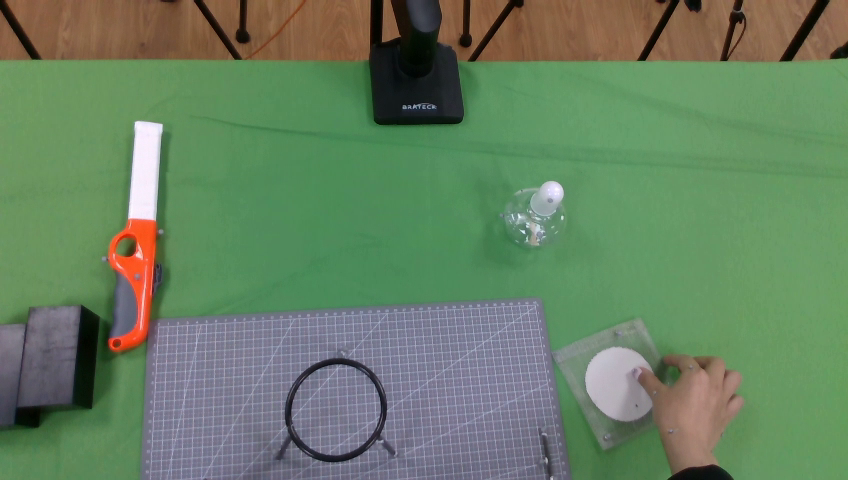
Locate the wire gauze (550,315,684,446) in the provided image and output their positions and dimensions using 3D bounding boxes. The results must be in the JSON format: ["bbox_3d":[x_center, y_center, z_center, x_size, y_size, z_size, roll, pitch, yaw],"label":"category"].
[{"bbox_3d":[0.229,0.163,0.715,0.125,0.011,0.120,-20,73,-13],"label":"wire gauze"}]

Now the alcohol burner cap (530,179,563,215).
[{"bbox_3d":[0.142,-0.051,0.686,0.034,0.048,0.033,1,74,-4],"label":"alcohol burner cap"}]

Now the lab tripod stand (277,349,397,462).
[{"bbox_3d":[-0.087,0.168,0.598,0.148,0.132,0.147,2,68,-5],"label":"lab tripod stand"}]

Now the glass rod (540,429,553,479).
[{"bbox_3d":[0.142,0.305,0.646,0.008,0.008,0.198,-3,70,-9],"label":"glass rod"}]

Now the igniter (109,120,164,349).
[{"bbox_3d":[-0.324,-0.013,0.692,0.057,0.025,0.274,4,69,-22],"label":"igniter"}]

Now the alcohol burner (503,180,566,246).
[{"bbox_3d":[0.137,-0.038,0.720,0.078,0.120,0.077,3,67,-6],"label":"alcohol burner"}]
